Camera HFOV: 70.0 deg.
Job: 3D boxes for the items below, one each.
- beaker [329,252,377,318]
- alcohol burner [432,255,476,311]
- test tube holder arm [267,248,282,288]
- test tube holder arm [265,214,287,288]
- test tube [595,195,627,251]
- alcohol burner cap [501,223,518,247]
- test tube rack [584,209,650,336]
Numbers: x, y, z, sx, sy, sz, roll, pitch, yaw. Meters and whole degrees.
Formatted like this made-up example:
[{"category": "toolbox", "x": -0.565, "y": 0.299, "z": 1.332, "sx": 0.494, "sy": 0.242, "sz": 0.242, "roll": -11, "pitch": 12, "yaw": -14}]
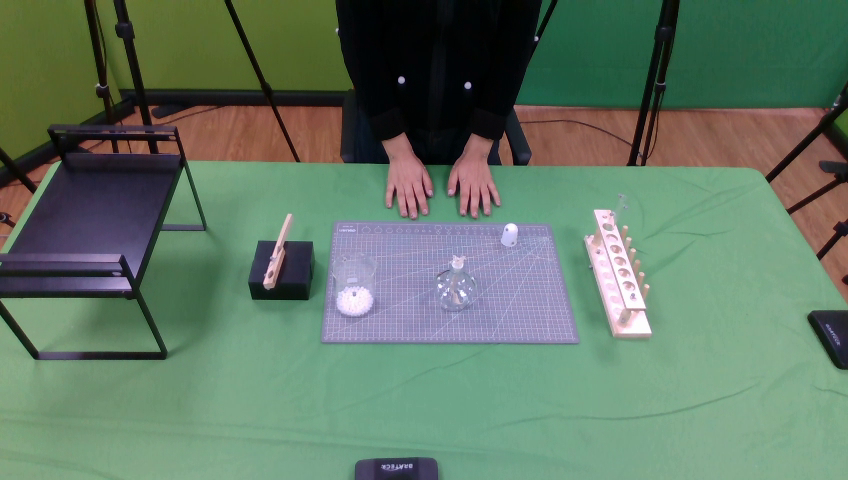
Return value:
[{"category": "beaker", "x": -0.121, "y": 0.080, "z": 1.055, "sx": 0.084, "sy": 0.101, "sz": 0.073, "roll": -16, "pitch": 50, "yaw": -19}, {"category": "alcohol burner", "x": 0.055, "y": 0.070, "z": 1.068, "sx": 0.078, "sy": 0.119, "sz": 0.077, "roll": 3, "pitch": 45, "yaw": -3}, {"category": "test tube holder arm", "x": -0.262, "y": 0.048, "z": 1.068, "sx": 0.010, "sy": 0.015, "sz": 0.087, "roll": 4, "pitch": 45, "yaw": -3}, {"category": "test tube holder arm", "x": -0.268, "y": 0.016, "z": 1.099, "sx": 0.013, "sy": 0.015, "sz": 0.177, "roll": 2, "pitch": 45, "yaw": -4}, {"category": "test tube", "x": 0.350, "y": -0.029, "z": 1.140, "sx": 0.017, "sy": 0.151, "sz": 0.017, "roll": 3, "pitch": 50, "yaw": -3}, {"category": "alcohol burner cap", "x": 0.172, "y": -0.013, "z": 1.206, "sx": 0.034, "sy": 0.048, "sz": 0.033, "roll": 1, "pitch": 46, "yaw": -1}, {"category": "test tube rack", "x": 0.365, "y": 0.056, "z": 1.129, "sx": 0.067, "sy": 0.085, "sz": 0.240, "roll": 1, "pitch": 46, "yaw": -3}]
